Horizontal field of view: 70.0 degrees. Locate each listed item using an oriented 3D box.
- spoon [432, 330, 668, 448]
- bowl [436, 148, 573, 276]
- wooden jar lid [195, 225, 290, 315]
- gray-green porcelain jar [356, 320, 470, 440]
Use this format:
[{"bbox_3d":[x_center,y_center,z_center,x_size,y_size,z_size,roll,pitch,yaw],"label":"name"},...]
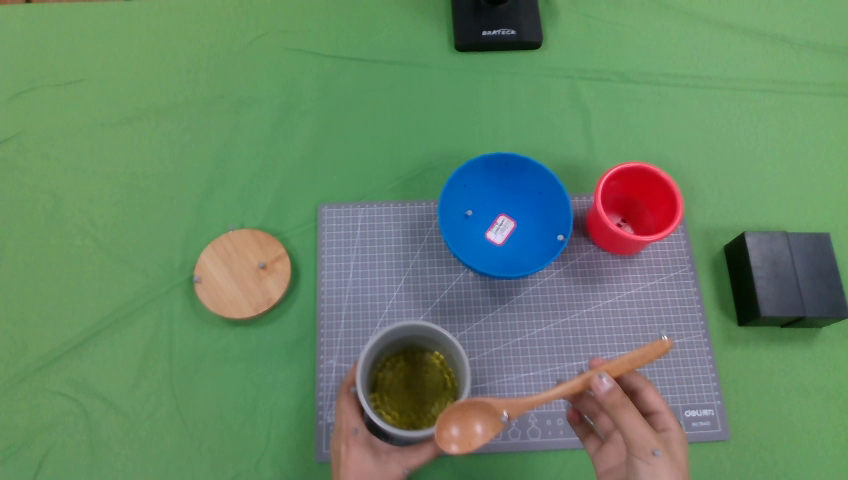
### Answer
[{"bbox_3d":[0.094,0.113,0.463,0.193,0.021,0.041,-25,94,15],"label":"spoon"},{"bbox_3d":[0.088,-0.021,0.697,0.151,0.077,0.150,1,70,-1],"label":"bowl"},{"bbox_3d":[-0.209,0.036,0.704,0.108,0.021,0.107,0,70,0],"label":"wooden jar lid"},{"bbox_3d":[-0.011,0.145,0.610,0.106,0.127,0.105,1,69,-1],"label":"gray-green porcelain jar"}]
